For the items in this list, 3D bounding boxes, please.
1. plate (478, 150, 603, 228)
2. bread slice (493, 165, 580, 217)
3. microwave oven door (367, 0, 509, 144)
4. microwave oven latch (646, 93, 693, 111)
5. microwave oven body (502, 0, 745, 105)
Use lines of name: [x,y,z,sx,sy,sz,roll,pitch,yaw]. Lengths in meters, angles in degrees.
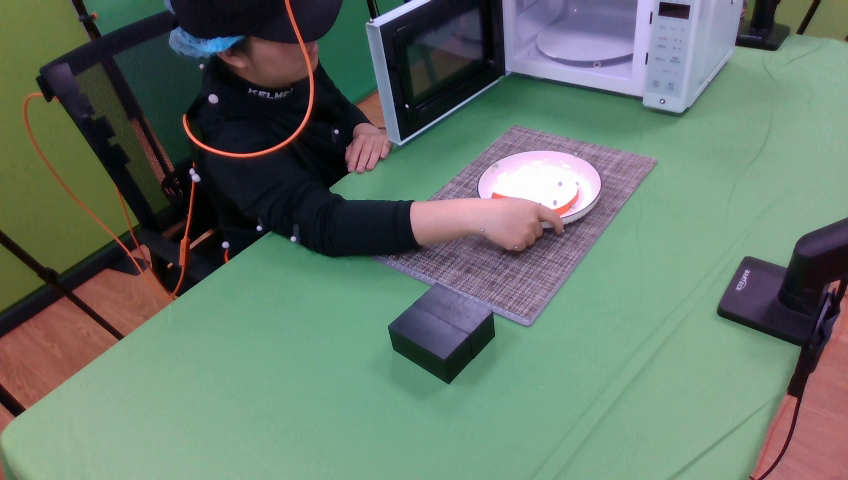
plate: [0.198,-0.084,1.030,0.209,0.038,0.208,-5,40,5]
bread slice: [0.200,-0.084,1.034,0.130,0.019,0.105,23,50,34]
microwave oven door: [0.045,-0.384,1.234,0.039,0.245,0.357,28,52,36]
microwave oven latch: [0.477,-0.273,1.177,0.078,0.029,0.030,22,50,33]
microwave oven body: [0.416,-0.486,1.290,0.438,0.261,0.327,21,50,33]
